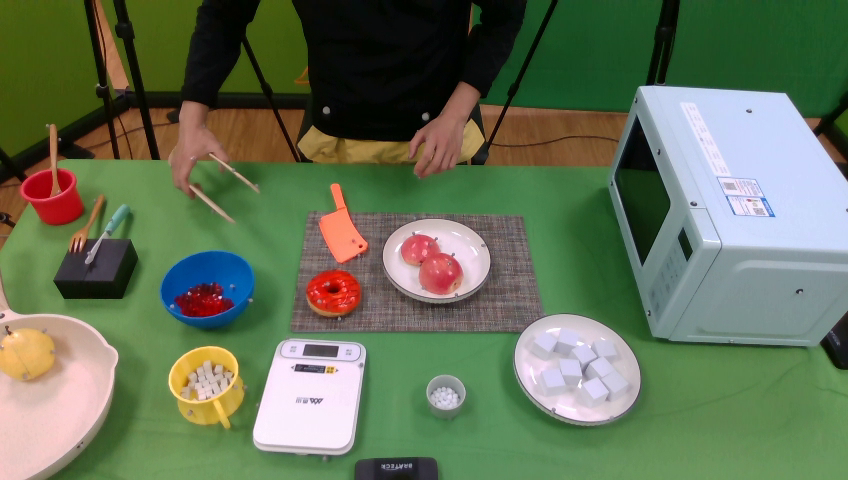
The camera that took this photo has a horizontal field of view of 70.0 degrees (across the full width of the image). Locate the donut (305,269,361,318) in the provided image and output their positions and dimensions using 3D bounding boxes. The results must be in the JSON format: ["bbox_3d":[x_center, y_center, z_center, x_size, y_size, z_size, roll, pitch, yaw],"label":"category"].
[{"bbox_3d":[-0.160,0.094,1.075,0.099,0.048,0.098,3,45,-3],"label":"donut"}]

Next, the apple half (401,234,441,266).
[{"bbox_3d":[-0.005,0.014,1.159,0.081,0.033,0.081,4,44,-4],"label":"apple half"}]

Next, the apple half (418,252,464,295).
[{"bbox_3d":[0.033,0.055,1.109,0.081,0.053,0.074,-31,58,-28],"label":"apple half"}]

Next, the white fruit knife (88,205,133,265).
[{"bbox_3d":[-0.584,-0.013,1.129,0.016,0.027,0.206,0,32,-5],"label":"white fruit knife"}]

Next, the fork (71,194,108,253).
[{"bbox_3d":[-0.634,-0.036,1.158,0.028,0.019,0.206,-8,32,-8],"label":"fork"}]

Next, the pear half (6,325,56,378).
[{"bbox_3d":[-0.608,0.158,0.935,0.076,0.110,0.056,31,51,20],"label":"pear half"}]

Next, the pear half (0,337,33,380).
[{"bbox_3d":[-0.631,0.184,0.921,0.070,0.088,0.031,29,49,19],"label":"pear half"}]

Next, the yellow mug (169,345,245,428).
[{"bbox_3d":[-0.322,0.230,0.922,0.100,0.064,0.130,-24,53,-25],"label":"yellow mug"}]

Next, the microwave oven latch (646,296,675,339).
[{"bbox_3d":[0.412,0.134,1.061,0.030,0.029,0.078,4,45,1],"label":"microwave oven latch"}]

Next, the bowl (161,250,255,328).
[{"bbox_3d":[-0.362,0.098,1.040,0.151,0.077,0.150,2,45,-2],"label":"bowl"}]

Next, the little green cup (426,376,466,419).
[{"bbox_3d":[0.033,0.248,0.950,0.061,0.039,0.061,2,46,-2],"label":"little green cup"}]

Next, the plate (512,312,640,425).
[{"bbox_3d":[0.246,0.213,0.999,0.208,0.039,0.206,2,46,-2],"label":"plate"}]

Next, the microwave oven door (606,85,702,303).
[{"bbox_3d":[0.423,-0.094,1.140,0.039,0.245,0.353,2,46,-1],"label":"microwave oven door"}]

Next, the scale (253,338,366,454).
[{"bbox_3d":[-0.175,0.236,0.951,0.149,0.032,0.199,4,45,-1],"label":"scale"}]

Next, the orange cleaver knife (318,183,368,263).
[{"bbox_3d":[-0.173,-0.038,1.218,0.077,0.012,0.210,-17,51,-11],"label":"orange cleaver knife"}]

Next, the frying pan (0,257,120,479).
[{"bbox_3d":[-0.647,0.164,0.936,0.307,0.103,0.485,-19,58,-22],"label":"frying pan"}]

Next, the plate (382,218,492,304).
[{"bbox_3d":[0.023,0.042,1.143,0.209,0.038,0.208,2,46,-2],"label":"plate"}]

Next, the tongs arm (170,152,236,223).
[{"bbox_3d":[-0.436,-0.106,1.175,0.028,0.028,0.385,-55,42,-2],"label":"tongs arm"}]

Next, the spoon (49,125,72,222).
[{"bbox_3d":[-0.718,-0.131,1.189,0.041,0.021,0.193,-4,90,-6],"label":"spoon"}]

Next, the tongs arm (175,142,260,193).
[{"bbox_3d":[-0.411,-0.138,1.180,0.050,0.027,0.382,-53,42,-5],"label":"tongs arm"}]

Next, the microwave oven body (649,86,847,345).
[{"bbox_3d":[0.567,-0.053,1.118,0.326,0.261,0.439,2,45,-1],"label":"microwave oven body"}]
